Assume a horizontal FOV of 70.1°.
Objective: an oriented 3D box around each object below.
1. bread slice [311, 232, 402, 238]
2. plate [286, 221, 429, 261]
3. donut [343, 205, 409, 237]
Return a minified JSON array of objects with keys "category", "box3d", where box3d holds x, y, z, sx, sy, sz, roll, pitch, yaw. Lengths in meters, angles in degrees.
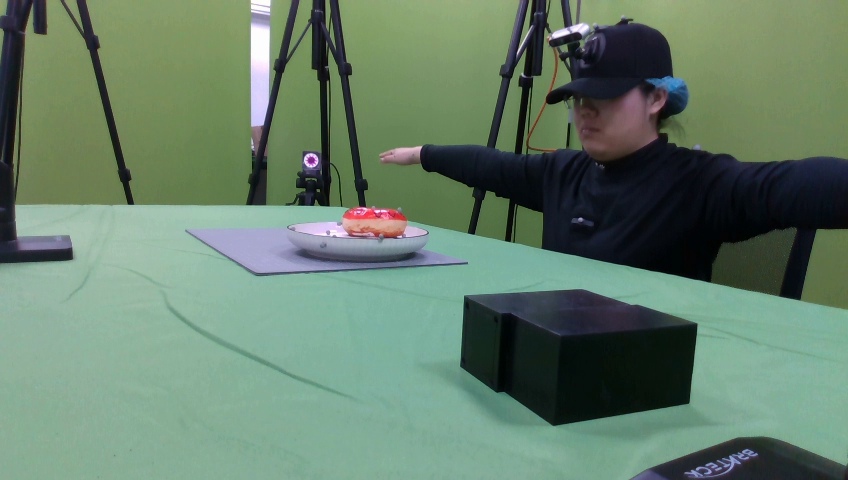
[{"category":"bread slice","box3d":[-0.101,0.002,0.885,0.135,0.018,0.106,-3,8,-38]},{"category":"plate","box3d":[-0.096,0.001,0.886,0.209,0.038,0.209,2,7,0]},{"category":"donut","box3d":[-0.072,-0.027,0.894,0.099,0.048,0.099,4,3,0]}]
